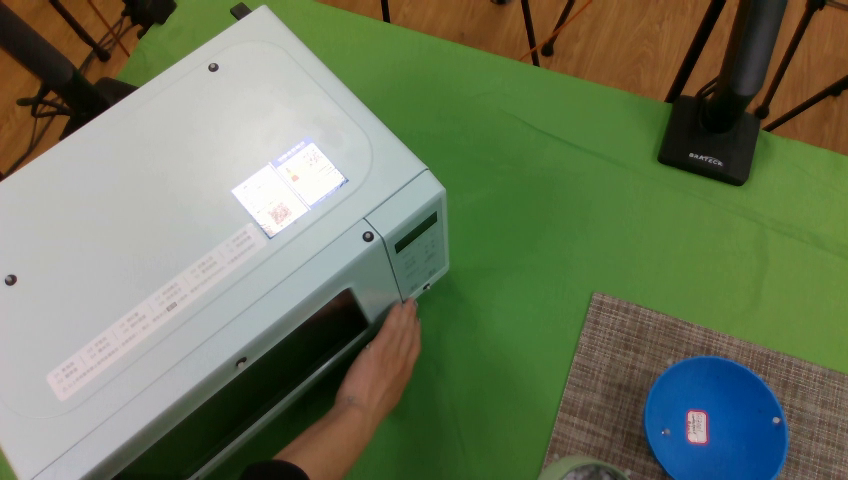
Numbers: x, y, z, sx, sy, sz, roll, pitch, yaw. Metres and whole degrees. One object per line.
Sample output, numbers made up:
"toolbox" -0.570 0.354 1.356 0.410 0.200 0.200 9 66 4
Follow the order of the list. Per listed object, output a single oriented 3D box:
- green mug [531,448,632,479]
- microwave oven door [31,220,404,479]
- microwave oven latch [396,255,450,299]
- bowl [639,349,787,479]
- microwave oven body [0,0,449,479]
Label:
"green mug" 0.160 0.253 0.563 0.092 0.105 0.124 -43 74 -12
"microwave oven door" -0.176 0.137 0.627 0.355 0.245 0.039 -40 71 -12
"microwave oven latch" -0.003 0.039 0.766 0.079 0.030 0.030 -38 72 -10
"bowl" 0.310 0.204 0.681 0.151 0.077 0.150 -1 69 3
"microwave oven body" -0.239 0.012 0.683 0.441 0.262 0.324 -40 73 -11
